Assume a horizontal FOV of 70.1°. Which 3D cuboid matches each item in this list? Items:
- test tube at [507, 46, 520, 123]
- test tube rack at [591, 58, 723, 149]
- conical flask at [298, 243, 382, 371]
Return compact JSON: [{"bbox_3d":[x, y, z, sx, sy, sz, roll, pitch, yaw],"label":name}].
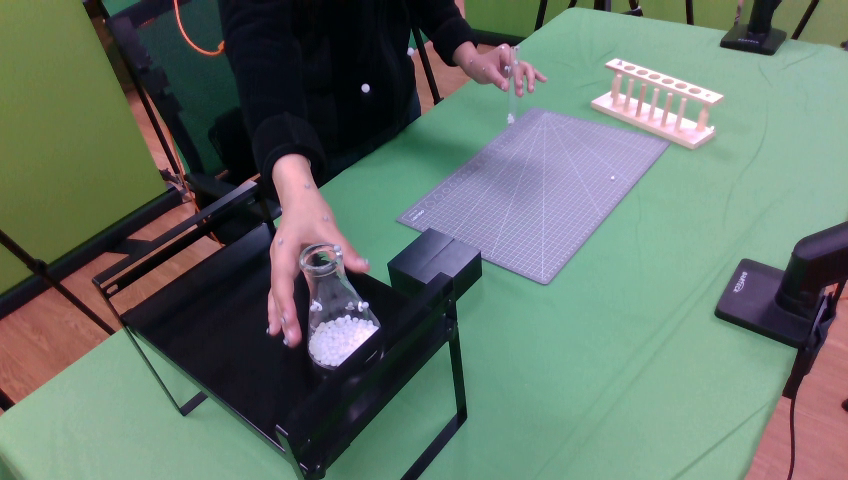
[{"bbox_3d":[0.152,-0.262,1.033,0.017,0.151,0.017,-2,49,3],"label":"test tube"},{"bbox_3d":[0.442,-0.269,1.171,0.067,0.085,0.240,-30,46,-24],"label":"test tube rack"},{"bbox_3d":[-0.085,0.059,0.565,0.075,0.122,0.075,-5,42,5],"label":"conical flask"}]
